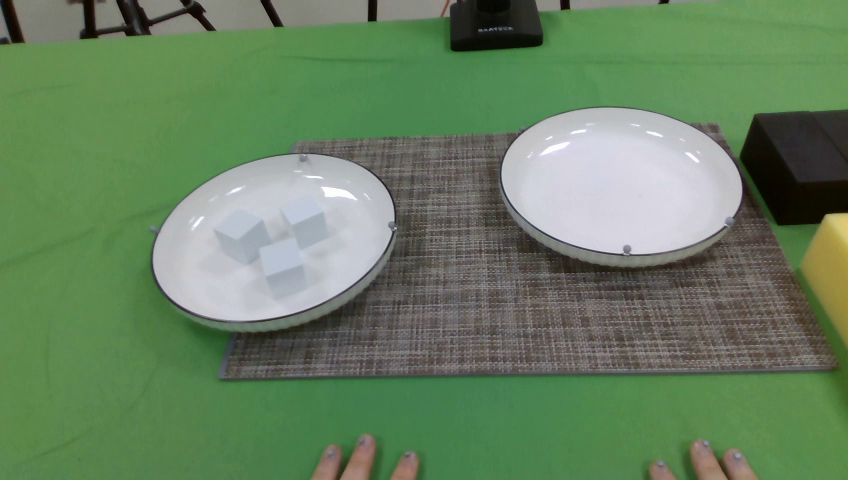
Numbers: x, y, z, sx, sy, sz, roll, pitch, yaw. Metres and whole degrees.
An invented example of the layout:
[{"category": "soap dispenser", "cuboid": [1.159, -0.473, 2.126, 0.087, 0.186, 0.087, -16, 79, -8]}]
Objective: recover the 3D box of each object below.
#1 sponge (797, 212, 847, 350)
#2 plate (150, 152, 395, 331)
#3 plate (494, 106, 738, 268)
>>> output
[{"category": "sponge", "cuboid": [0.364, 0.069, 0.406, 0.118, 0.061, 0.204, -5, 46, 2]}, {"category": "plate", "cuboid": [-0.127, 0.000, 0.531, 0.209, 0.038, 0.207, -2, 45, 3]}, {"category": "plate", "cuboid": [0.168, -0.048, 0.550, 0.207, 0.039, 0.205, -2, 46, 3]}]
